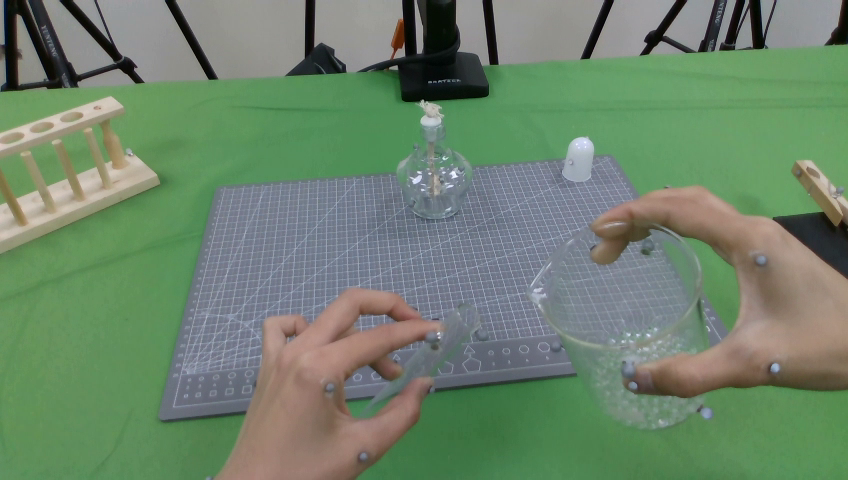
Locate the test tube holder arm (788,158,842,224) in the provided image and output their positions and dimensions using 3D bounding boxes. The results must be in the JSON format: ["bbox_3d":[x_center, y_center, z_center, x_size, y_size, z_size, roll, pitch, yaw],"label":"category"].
[{"bbox_3d":[0.359,-0.046,0.554,0.010,0.015,0.087,-8,41,4],"label":"test tube holder arm"}]

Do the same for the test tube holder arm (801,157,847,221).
[{"bbox_3d":[0.367,-0.018,0.519,0.013,0.015,0.176,-9,41,4],"label":"test tube holder arm"}]

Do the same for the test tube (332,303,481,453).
[{"bbox_3d":[-0.016,0.086,0.353,0.017,0.150,0.017,25,36,-20],"label":"test tube"}]

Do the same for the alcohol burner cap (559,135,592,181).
[{"bbox_3d":[0.167,-0.093,0.662,0.034,0.048,0.033,0,41,1],"label":"alcohol burner cap"}]

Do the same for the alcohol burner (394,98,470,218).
[{"bbox_3d":[0.007,-0.083,0.599,0.078,0.120,0.077,-2,40,2],"label":"alcohol burner"}]

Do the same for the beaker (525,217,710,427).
[{"bbox_3d":[0.106,0.048,0.318,0.083,0.101,0.073,-7,50,27],"label":"beaker"}]

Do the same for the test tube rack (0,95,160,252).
[{"bbox_3d":[-0.405,-0.055,0.603,0.242,0.086,0.066,-32,50,-31],"label":"test tube rack"}]
